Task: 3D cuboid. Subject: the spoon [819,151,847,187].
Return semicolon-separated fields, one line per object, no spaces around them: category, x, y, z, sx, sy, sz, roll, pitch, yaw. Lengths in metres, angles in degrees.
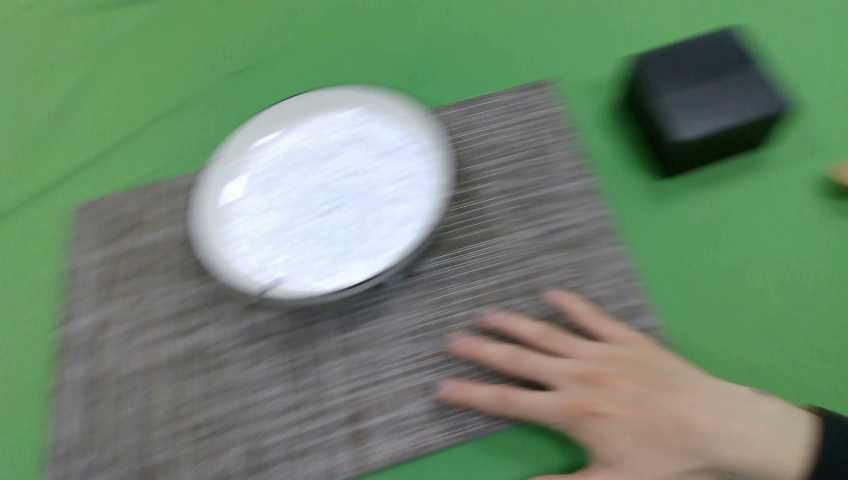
spoon;0.398;-0.092;0.497;0.194;0.022;0.041;-33;46;-12

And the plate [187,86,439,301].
plate;-0.090;-0.040;0.508;0.209;0.038;0.207;-3;60;5
